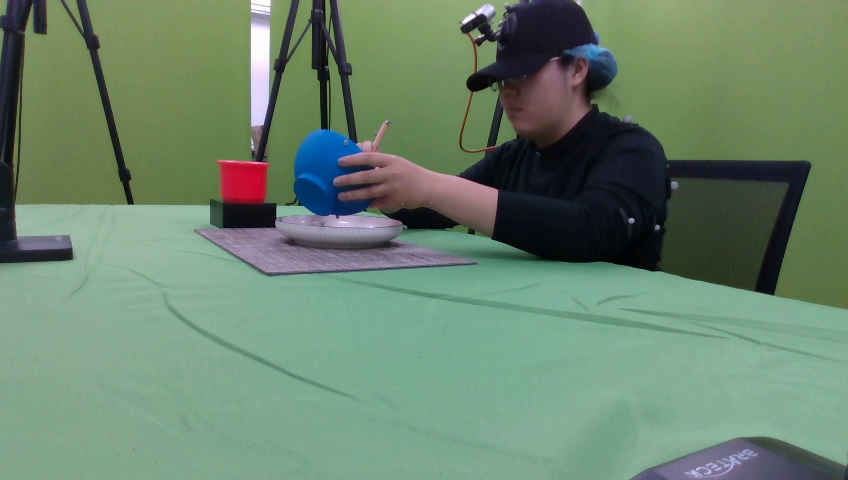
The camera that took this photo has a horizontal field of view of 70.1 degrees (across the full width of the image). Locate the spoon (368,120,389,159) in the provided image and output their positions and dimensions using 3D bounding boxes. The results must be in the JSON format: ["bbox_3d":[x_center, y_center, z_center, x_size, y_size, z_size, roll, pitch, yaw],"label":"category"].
[{"bbox_3d":[-0.101,-0.129,1.007,0.022,0.194,0.041,38,-30,-14],"label":"spoon"}]

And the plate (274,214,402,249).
[{"bbox_3d":[-0.140,-0.015,0.993,0.208,0.039,0.207,3,7,0],"label":"plate"}]

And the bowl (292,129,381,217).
[{"bbox_3d":[-0.151,-0.089,0.944,0.150,0.152,0.077,7,44,35],"label":"bowl"}]
